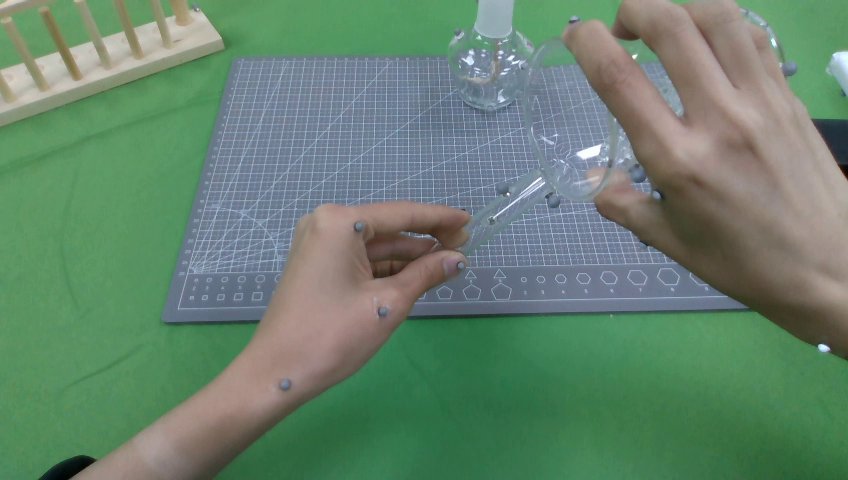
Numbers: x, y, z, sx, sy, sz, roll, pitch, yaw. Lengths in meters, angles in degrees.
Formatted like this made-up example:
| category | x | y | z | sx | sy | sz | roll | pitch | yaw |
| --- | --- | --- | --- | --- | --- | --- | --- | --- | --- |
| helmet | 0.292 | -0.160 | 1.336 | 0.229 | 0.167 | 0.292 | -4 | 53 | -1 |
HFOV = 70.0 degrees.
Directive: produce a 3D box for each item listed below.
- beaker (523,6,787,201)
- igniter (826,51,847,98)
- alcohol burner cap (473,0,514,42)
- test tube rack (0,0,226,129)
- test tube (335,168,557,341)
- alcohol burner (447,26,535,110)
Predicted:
| category | x | y | z | sx | sy | sz | roll | pitch | yaw |
| --- | --- | --- | --- | --- | --- | --- | --- | --- | --- |
| beaker | 0.108 | -0.065 | 0.288 | 0.100 | 0.084 | 0.073 | -16 | 62 | -14 |
| igniter | 0.350 | -0.048 | 0.426 | 0.057 | 0.025 | 0.274 | 0 | 51 | 5 |
| alcohol burner cap | 0.059 | -0.192 | 0.498 | 0.034 | 0.048 | 0.033 | 2 | 51 | -2 |
| test tube rack | -0.318 | -0.185 | 0.552 | 0.242 | 0.086 | 0.066 | -27 | 57 | -19 |
| test tube | 0.007 | 0.011 | 0.330 | 0.150 | 0.017 | 0.017 | -38 | 52 | 18 |
| alcohol burner | 0.059 | -0.172 | 0.522 | 0.078 | 0.120 | 0.077 | 1 | 53 | -1 |
